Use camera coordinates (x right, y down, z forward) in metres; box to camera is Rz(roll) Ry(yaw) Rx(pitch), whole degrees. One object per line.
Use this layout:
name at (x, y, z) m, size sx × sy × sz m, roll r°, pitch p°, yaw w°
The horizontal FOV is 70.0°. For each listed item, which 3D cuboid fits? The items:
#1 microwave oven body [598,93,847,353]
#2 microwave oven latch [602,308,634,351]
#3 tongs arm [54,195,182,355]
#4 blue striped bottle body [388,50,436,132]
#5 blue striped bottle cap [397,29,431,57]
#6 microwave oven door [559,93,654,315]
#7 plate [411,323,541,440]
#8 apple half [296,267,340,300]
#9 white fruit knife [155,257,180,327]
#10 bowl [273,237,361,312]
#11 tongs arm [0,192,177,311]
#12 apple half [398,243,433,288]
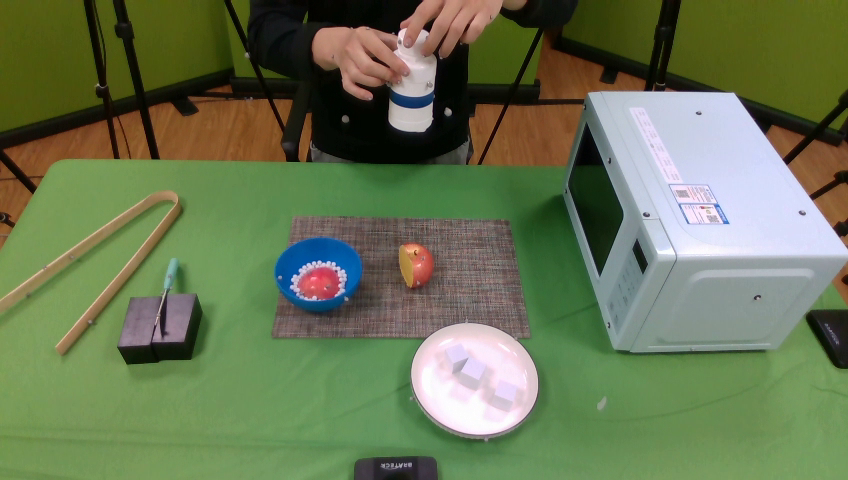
microwave oven body at (0.475, -0.041, 1.109) m, size 0.326 × 0.261 × 0.438 m, roll -1°, pitch 45°, yaw -4°
microwave oven latch at (0.332, 0.153, 1.044) m, size 0.030 × 0.029 × 0.078 m, roll -1°, pitch 45°, yaw -4°
tongs arm at (-0.544, 0.049, 1.109) m, size 0.028 × 0.028 × 0.385 m, roll 12°, pitch 46°, yaw 9°
blue striped bottle body at (-0.017, -0.215, 0.829) m, size 0.063 × 0.121 × 0.062 m, roll 3°, pitch 40°, yaw -2°
blue striped bottle cap at (-0.013, -0.258, 0.791) m, size 0.044 × 0.021 × 0.044 m, roll 4°, pitch 42°, yaw -4°
microwave oven door at (0.327, -0.074, 1.123) m, size 0.039 × 0.245 × 0.353 m, roll 0°, pitch 46°, yaw -5°
plate at (0.082, 0.228, 0.976) m, size 0.208 × 0.039 × 0.206 m, roll 2°, pitch 45°, yaw -2°
apple half at (-0.187, 0.071, 1.067) m, size 0.081 × 0.033 × 0.081 m, roll 2°, pitch 47°, yaw -2°
white fruit knife at (-0.440, 0.085, 1.037) m, size 0.016 × 0.027 × 0.206 m, roll 10°, pitch 26°, yaw -19°
bowl at (-0.186, 0.074, 1.070) m, size 0.151 × 0.077 × 0.150 m, roll 3°, pitch 46°, yaw -3°
tongs arm at (-0.618, 0.020, 1.124) m, size 0.050 × 0.026 × 0.384 m, roll 24°, pitch 47°, yaw 16°
apple half at (-0.012, 0.046, 1.115) m, size 0.053 × 0.075 × 0.080 m, roll -11°, pitch 44°, yaw -19°
